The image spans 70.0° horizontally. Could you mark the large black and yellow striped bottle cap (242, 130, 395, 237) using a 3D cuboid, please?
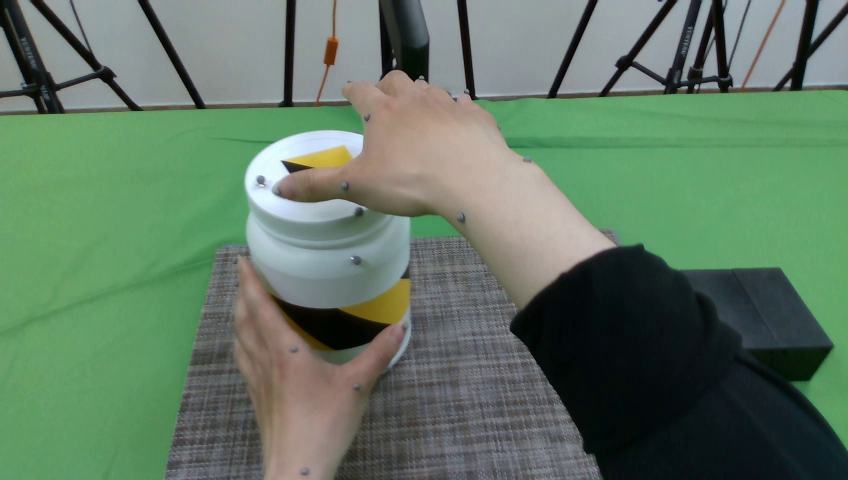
[{"bbox_3d":[-0.079,-0.047,0.461,0.115,0.019,0.114,2,43,-2],"label":"large black and yellow striped bottle cap"}]

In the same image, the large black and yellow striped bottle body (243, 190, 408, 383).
[{"bbox_3d":[-0.079,0.019,0.519,0.131,0.185,0.129,1,41,0],"label":"large black and yellow striped bottle body"}]
